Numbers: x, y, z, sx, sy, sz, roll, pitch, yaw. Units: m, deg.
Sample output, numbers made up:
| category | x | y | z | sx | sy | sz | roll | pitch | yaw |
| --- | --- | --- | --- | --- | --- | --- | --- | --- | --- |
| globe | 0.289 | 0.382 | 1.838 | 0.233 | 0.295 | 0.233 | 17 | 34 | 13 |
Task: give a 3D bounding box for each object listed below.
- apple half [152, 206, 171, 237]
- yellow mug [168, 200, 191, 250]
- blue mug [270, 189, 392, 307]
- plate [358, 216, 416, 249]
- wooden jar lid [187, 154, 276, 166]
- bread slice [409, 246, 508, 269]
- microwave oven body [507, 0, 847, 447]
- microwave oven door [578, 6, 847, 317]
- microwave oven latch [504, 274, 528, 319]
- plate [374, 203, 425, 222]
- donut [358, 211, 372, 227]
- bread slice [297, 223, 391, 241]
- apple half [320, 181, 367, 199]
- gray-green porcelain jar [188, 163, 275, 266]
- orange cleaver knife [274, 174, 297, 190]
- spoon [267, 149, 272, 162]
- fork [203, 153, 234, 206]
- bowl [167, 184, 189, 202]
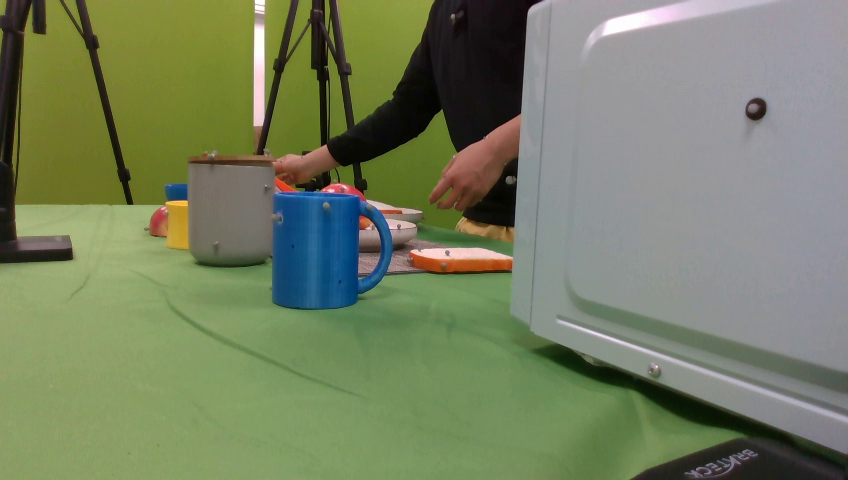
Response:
| category | x | y | z | sx | sy | sz | roll | pitch | yaw |
| --- | --- | --- | --- | --- | --- | --- | --- | --- | --- |
| apple half | -0.415 | -0.034 | 1.017 | 0.081 | 0.053 | 0.074 | 1 | 10 | -8 |
| yellow mug | -0.320 | -0.023 | 0.904 | 0.130 | 0.064 | 0.100 | 8 | 10 | 36 |
| blue mug | -0.089 | 0.005 | 0.588 | 0.117 | 0.106 | 0.082 | 1 | 7 | -10 |
| plate | -0.116 | -0.014 | 0.967 | 0.208 | 0.039 | 0.207 | 2 | 7 | 0 |
| wooden jar lid | -0.244 | -0.097 | 0.771 | 0.108 | 0.020 | 0.108 | -1 | 7 | 0 |
| bread slice | 0.048 | 0.022 | 0.816 | 0.132 | 0.019 | 0.104 | 0 | 7 | -24 |
| microwave oven body | 0.331 | -0.042 | 0.425 | 0.444 | 0.260 | 0.324 | -2 | 8 | -31 |
| microwave oven door | 0.294 | -0.067 | 0.570 | 0.358 | 0.243 | 0.039 | -3 | 9 | -31 |
| microwave oven latch | 0.100 | 0.041 | 0.470 | 0.079 | 0.029 | 0.030 | -1 | 7 | -27 |
| plate | -0.102 | -0.053 | 1.299 | 0.209 | 0.038 | 0.209 | 2 | 8 | 0 |
| donut | -0.129 | -0.041 | 0.957 | 0.099 | 0.048 | 0.099 | 3 | 8 | 0 |
| bread slice | -0.121 | -0.014 | 0.971 | 0.106 | 0.018 | 0.135 | 9 | 9 | 41 |
| apple half | -0.129 | -0.076 | 0.950 | 0.081 | 0.033 | 0.081 | 2 | 14 | 0 |
| gray-green porcelain jar | -0.246 | -0.034 | 0.780 | 0.106 | 0.126 | 0.106 | 1 | 7 | 0 |
| orange cleaver knife | -0.283 | -0.087 | 1.343 | 0.212 | 0.077 | 0.012 | 24 | -16 | -41 |
| spoon | -0.396 | -0.158 | 1.539 | 0.042 | 0.193 | 0.021 | 0 | -29 | -7 |
| fork | -0.480 | -0.135 | 1.411 | 0.028 | 0.018 | 0.207 | 1 | -34 | -1 |
| bowl | -0.408 | -0.064 | 1.154 | 0.151 | 0.077 | 0.151 | 2 | 8 | 0 |
